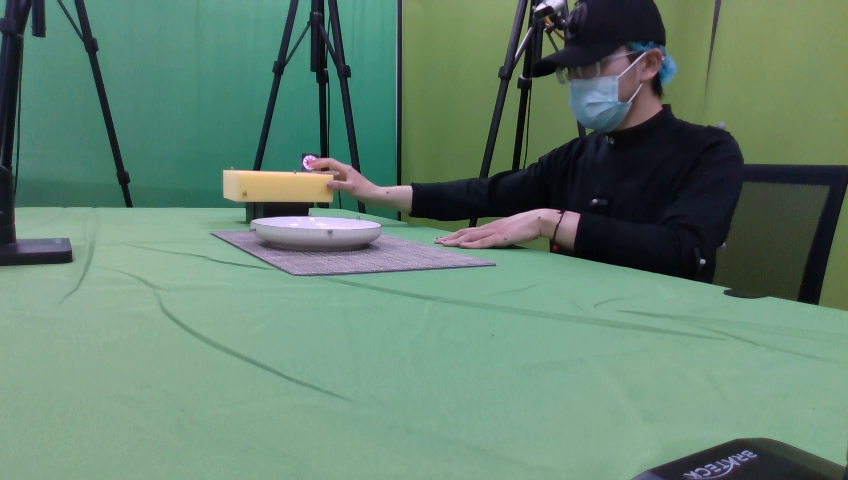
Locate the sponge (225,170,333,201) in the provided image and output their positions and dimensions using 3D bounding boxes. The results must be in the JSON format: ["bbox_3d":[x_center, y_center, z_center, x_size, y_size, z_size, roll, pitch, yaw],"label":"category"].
[{"bbox_3d":[-0.313,-0.117,1.306,0.208,0.061,0.117,-2,8,-32],"label":"sponge"}]

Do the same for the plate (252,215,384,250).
[{"bbox_3d":[-0.169,-0.012,0.976,0.208,0.039,0.207,2,7,0],"label":"plate"}]
